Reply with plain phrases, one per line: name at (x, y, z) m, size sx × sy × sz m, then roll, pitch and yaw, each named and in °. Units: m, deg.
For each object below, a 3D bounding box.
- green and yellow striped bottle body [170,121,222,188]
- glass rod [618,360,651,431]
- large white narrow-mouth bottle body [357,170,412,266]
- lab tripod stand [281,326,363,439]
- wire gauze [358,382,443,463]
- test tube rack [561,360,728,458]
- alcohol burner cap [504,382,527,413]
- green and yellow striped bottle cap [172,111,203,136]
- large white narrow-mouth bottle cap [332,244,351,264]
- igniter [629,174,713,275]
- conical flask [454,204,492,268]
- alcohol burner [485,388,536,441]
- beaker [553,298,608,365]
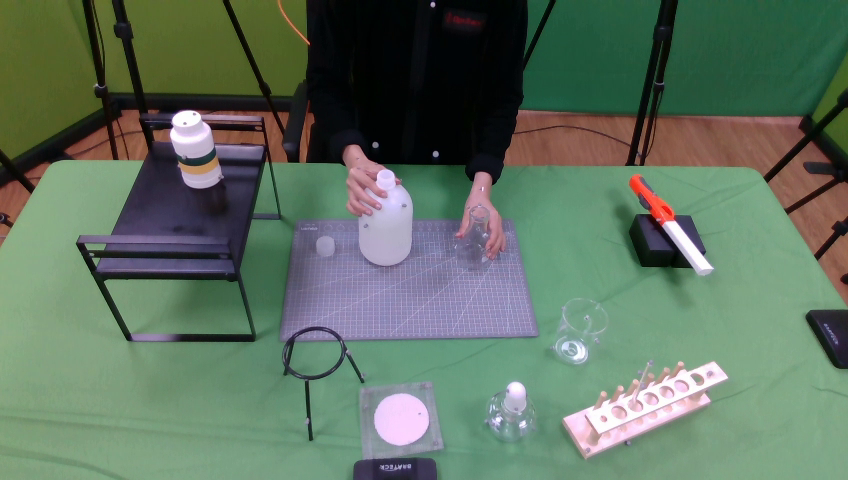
green and yellow striped bottle body at (-0.375, -0.149, 0.995) m, size 0.063 × 0.120 × 0.063 m, roll 2°, pitch 46°, yaw -2°
glass rod at (0.298, 0.227, 0.865) m, size 0.008 × 0.201 × 0.008 m, roll -1°, pitch 48°, yaw 2°
large white narrow-mouth bottle body at (-0.073, -0.047, 1.115) m, size 0.102 × 0.195 × 0.101 m, roll 3°, pitch 47°, yaw -3°
lab tripod stand at (-0.166, 0.203, 0.913) m, size 0.148 × 0.132 × 0.147 m, roll 1°, pitch 47°, yaw -1°
wire gauze at (-0.039, 0.277, 0.937) m, size 0.121 × 0.011 × 0.124 m, roll -4°, pitch 47°, yaw -7°
test tube rack at (0.341, 0.248, 0.940) m, size 0.243 × 0.085 × 0.066 m, roll -16°, pitch 49°, yaw -18°
alcohol burner cap at (0.133, 0.225, 0.877) m, size 0.034 × 0.048 × 0.033 m, roll -4°, pitch 47°, yaw 5°
green and yellow striped bottle cap at (-0.374, -0.185, 0.957) m, size 0.045 × 0.020 × 0.045 m, roll 3°, pitch 46°, yaw -3°
large white narrow-mouth bottle cap at (-0.159, 0.027, 1.162) m, size 0.038 × 0.024 × 0.037 m, roll 4°, pitch 46°, yaw -4°
igniter at (0.481, -0.040, 1.202) m, size 0.057 × 0.025 × 0.274 m, roll -2°, pitch 46°, yaw -21°
conical flask at (0.097, -0.009, 1.140) m, size 0.075 × 0.122 × 0.075 m, roll 2°, pitch 47°, yaw -2°
alcohol burner at (0.131, 0.249, 0.904) m, size 0.078 × 0.120 × 0.077 m, roll 1°, pitch 48°, yaw -1°
beaker at (0.260, 0.154, 1.015) m, size 0.073 × 0.101 × 0.084 m, roll 37°, pitch 54°, yaw 27°
